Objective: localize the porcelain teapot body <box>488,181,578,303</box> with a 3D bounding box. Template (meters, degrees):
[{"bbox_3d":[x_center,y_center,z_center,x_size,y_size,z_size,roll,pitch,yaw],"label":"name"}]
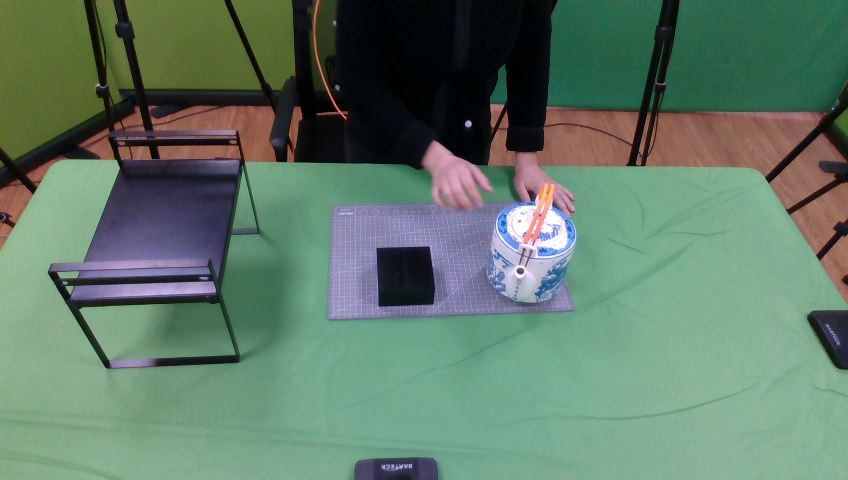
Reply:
[{"bbox_3d":[0.185,0.018,1.048,0.145,0.226,0.204,15,48,11],"label":"porcelain teapot body"}]

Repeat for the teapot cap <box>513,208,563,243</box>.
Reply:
[{"bbox_3d":[0.196,-0.029,1.039,0.085,0.044,0.084,3,49,-3],"label":"teapot cap"}]
